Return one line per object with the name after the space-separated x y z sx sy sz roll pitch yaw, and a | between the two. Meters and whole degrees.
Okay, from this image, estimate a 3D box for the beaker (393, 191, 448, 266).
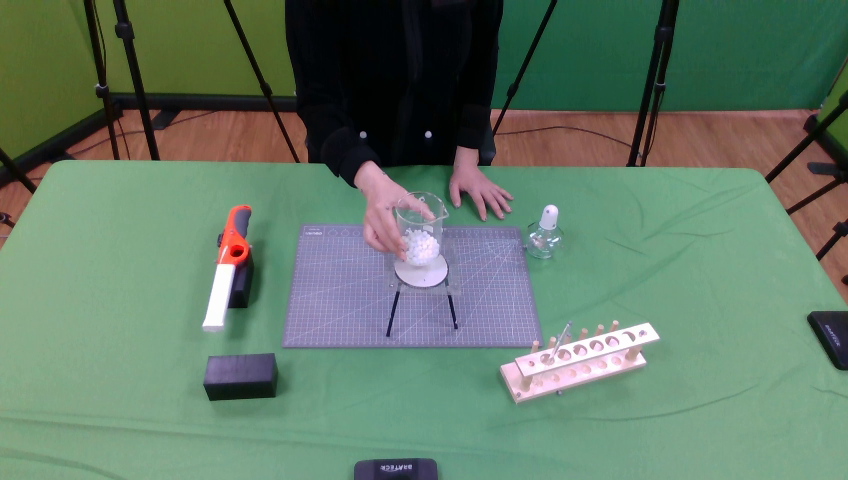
-0.006 -0.015 0.944 0.084 0.101 0.073 10 46 8 | beaker

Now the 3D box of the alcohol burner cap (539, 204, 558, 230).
0.239 -0.045 1.148 0.034 0.048 0.033 2 42 -1 | alcohol burner cap

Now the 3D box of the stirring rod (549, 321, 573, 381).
0.202 0.168 0.901 0.006 0.177 0.014 -17 55 -11 | stirring rod

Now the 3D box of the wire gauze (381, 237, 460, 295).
-0.007 0.040 0.983 0.125 0.011 0.120 1 44 -4 | wire gauze

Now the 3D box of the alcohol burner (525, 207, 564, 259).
0.236 -0.020 1.174 0.078 0.120 0.077 1 48 -1 | alcohol burner

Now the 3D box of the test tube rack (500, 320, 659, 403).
0.252 0.187 0.994 0.243 0.085 0.066 -12 48 -15 | test tube rack

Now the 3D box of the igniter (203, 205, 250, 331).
-0.345 0.039 1.065 0.057 0.025 0.274 2 49 -6 | igniter

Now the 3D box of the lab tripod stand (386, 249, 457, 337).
-0.010 0.087 1.032 0.148 0.132 0.147 1 45 -1 | lab tripod stand
